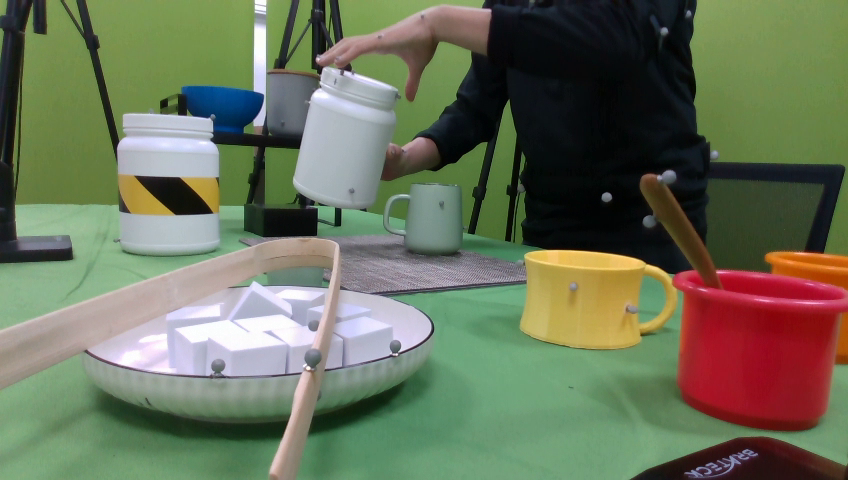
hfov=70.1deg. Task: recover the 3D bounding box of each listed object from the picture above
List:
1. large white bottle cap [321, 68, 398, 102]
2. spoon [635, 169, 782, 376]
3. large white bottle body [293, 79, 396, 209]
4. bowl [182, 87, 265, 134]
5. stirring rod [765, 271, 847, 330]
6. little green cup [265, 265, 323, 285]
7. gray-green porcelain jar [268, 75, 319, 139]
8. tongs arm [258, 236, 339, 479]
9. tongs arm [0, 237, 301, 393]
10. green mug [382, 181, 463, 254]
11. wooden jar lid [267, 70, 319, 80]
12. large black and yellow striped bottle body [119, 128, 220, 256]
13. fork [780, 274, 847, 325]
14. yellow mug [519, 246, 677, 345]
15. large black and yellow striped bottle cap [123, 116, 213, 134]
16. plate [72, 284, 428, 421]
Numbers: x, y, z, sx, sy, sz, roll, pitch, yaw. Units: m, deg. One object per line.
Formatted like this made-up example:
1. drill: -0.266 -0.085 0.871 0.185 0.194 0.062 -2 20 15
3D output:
1. large white bottle cap: -0.094 -0.230 0.895 0.115 0.018 0.114 16 18 -5
2. spoon: 0.161 0.026 0.346 0.041 0.194 0.021 10 56 53
3. large white bottle body: -0.118 -0.153 0.921 0.131 0.184 0.130 15 18 -5
4. bowl: -0.383 -0.244 1.158 0.151 0.077 0.151 2 7 0
5. stirring rod: 0.352 0.020 0.481 0.176 0.006 0.014 -40 -7 17
6. little green cup: -0.134 0.034 0.627 0.061 0.038 0.061 3 6 0
7. gray-green porcelain jar: -0.277 -0.279 1.280 0.106 0.126 0.106 2 8 0
8. tongs arm: -0.074 0.040 0.345 0.051 0.026 0.384 -2 9 -3
9. tongs arm: -0.157 0.038 0.347 0.028 0.028 0.388 -3 8 11
10. green mug: -0.001 -0.036 0.922 0.126 0.105 0.092 0 8 -15
11. wooden jar lid: -0.275 -0.339 1.271 0.108 0.020 0.108 5 6 0
12. large black and yellow striped bottle body: -0.355 -0.076 0.850 0.131 0.184 0.130 2 8 0
13. fork: 0.332 0.018 0.443 0.028 0.018 0.207 -3 -35 -16
14. yellow mug: 0.148 0.045 0.513 0.131 0.064 0.100 3 7 0
15. large black and yellow striped bottle cap: -0.353 -0.159 0.838 0.115 0.019 0.115 2 6 0
16. plate: -0.102 0.066 0.381 0.208 0.039 0.207 3 7 0
